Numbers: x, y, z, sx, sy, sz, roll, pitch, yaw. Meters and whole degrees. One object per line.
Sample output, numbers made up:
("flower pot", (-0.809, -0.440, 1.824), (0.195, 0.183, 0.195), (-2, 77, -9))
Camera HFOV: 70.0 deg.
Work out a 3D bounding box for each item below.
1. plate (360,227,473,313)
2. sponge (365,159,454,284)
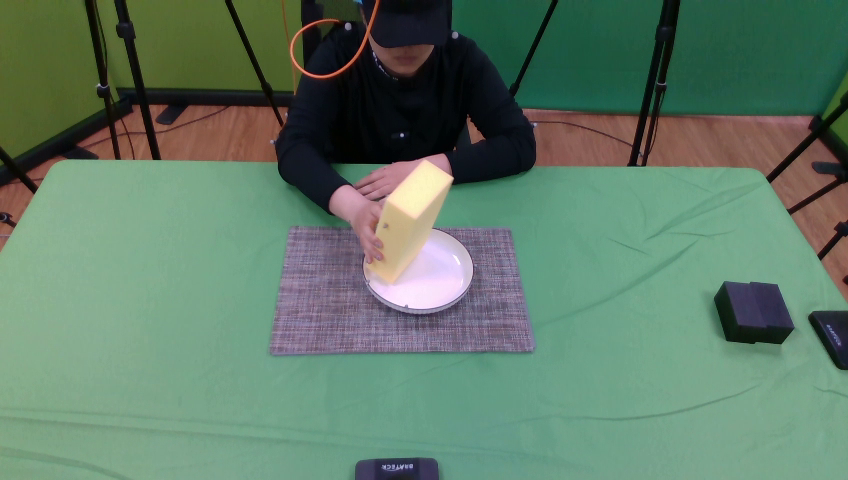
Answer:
("plate", (-0.014, 0.057, 1.126), (0.208, 0.039, 0.206), (2, 46, -2))
("sponge", (-0.029, -0.027, 1.056), (0.061, 0.207, 0.118), (35, 53, 8))
